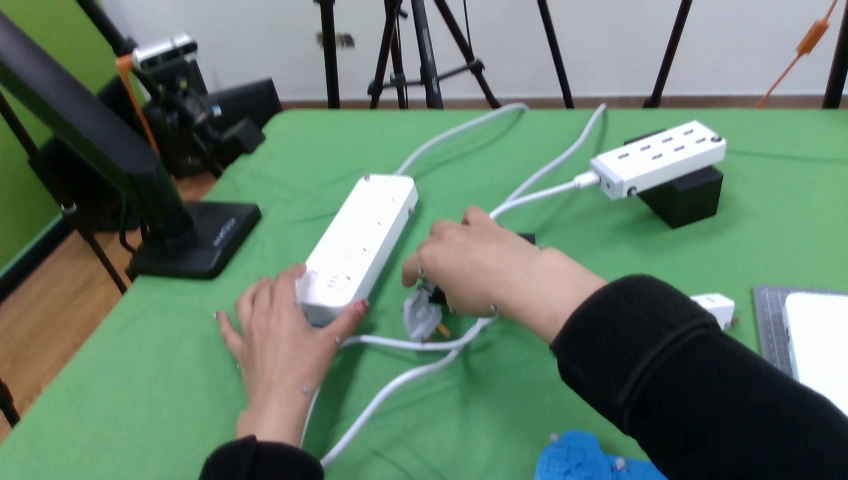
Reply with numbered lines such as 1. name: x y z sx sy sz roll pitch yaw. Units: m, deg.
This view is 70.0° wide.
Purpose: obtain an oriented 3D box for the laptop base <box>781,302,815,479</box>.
1. laptop base: 0.436 0.138 0.384 0.353 0.023 0.234 4 46 17

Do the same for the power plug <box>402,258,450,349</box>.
1. power plug: 0.012 0.060 0.537 0.072 0.053 0.035 -47 16 1

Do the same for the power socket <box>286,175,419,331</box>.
1. power socket: -0.070 0.002 0.647 0.072 0.033 0.225 7 43 19

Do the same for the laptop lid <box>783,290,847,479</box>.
1. laptop lid: 0.434 0.131 0.375 0.355 0.013 0.240 5 45 18

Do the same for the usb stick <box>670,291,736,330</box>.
1. usb stick: 0.238 0.059 0.509 0.059 0.027 0.021 0 17 -21

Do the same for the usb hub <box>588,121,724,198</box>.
1. usb hub: 0.231 -0.080 0.604 0.125 0.025 0.049 -20 43 -10

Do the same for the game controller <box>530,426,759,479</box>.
1. game controller: 0.142 0.172 0.390 0.154 0.052 0.096 5 38 17
